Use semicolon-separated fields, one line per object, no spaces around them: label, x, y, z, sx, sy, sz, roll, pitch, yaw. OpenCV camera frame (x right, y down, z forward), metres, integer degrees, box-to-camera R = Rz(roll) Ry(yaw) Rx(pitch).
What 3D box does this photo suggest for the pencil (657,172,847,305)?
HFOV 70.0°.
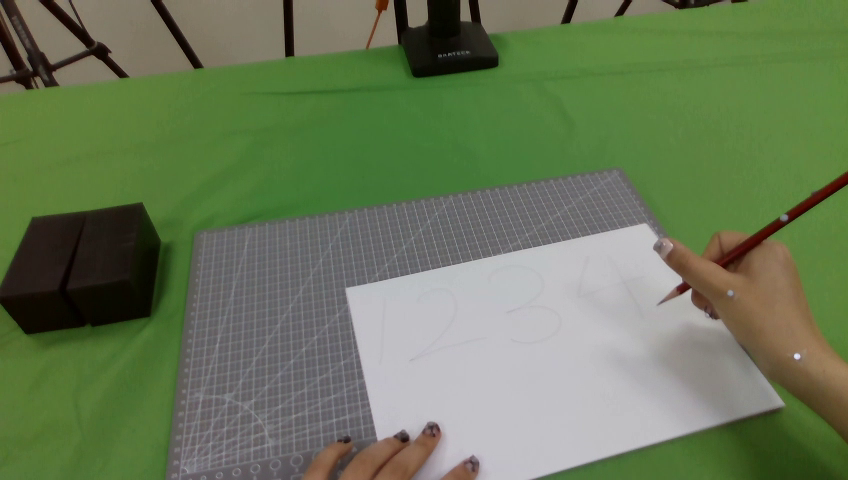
pencil;0.241;-0.006;0.423;0.012;0.194;0.012;30;35;-24
